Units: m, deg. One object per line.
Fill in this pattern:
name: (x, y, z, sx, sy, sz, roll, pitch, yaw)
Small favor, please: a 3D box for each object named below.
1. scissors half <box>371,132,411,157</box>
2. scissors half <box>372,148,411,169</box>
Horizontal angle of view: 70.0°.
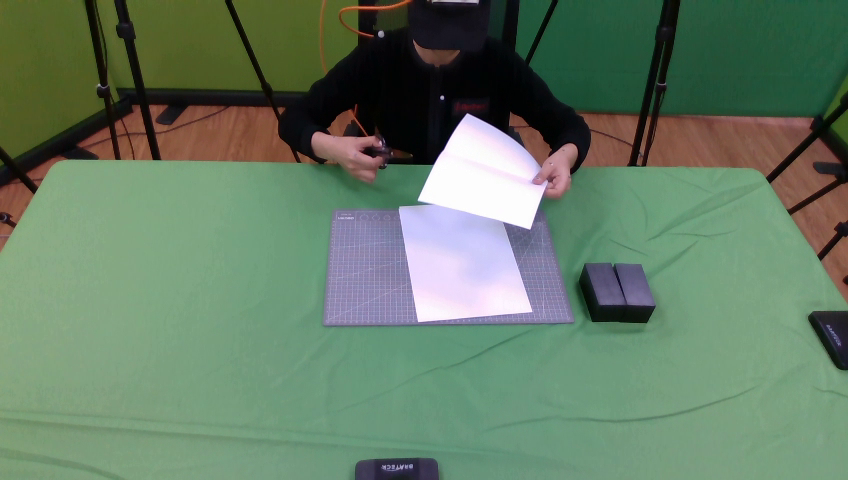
scissors half: (-0.066, -0.183, 1.190, 0.013, 0.040, 0.174, -13, 25, -26)
scissors half: (-0.065, -0.163, 1.194, 0.013, 0.040, 0.174, -7, 5, -27)
